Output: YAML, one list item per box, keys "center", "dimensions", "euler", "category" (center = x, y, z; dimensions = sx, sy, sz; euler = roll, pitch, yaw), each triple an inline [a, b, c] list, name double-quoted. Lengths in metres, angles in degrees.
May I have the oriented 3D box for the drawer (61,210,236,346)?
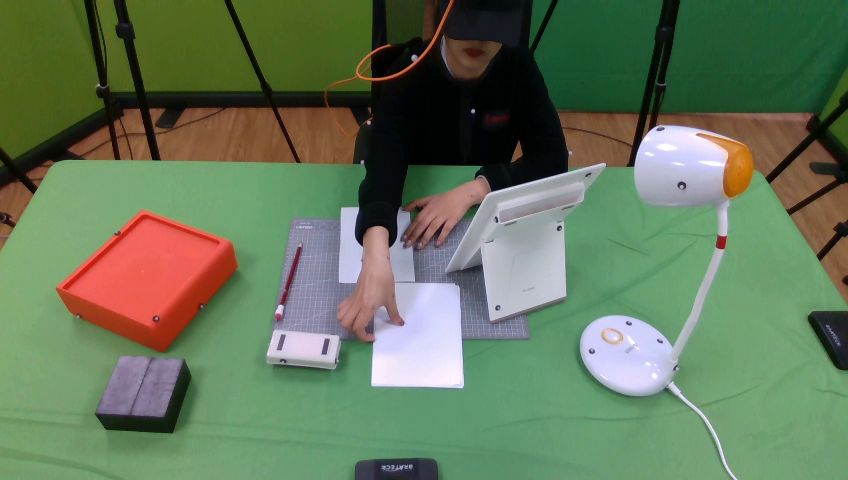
- center: [-0.474, 0.061, 1.063]
  dimensions: [0.194, 0.073, 0.211]
  euler: [19, 48, 13]
  category: "drawer"

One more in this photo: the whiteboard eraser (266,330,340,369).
- center: [-0.198, 0.181, 0.994]
  dimensions: [0.113, 0.042, 0.055]
  euler: [5, 45, 1]
  category: "whiteboard eraser"

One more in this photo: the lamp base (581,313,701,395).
- center: [0.361, 0.144, 0.973]
  dimensions: [0.178, 0.181, 0.160]
  euler: [34, 53, 23]
  category: "lamp base"

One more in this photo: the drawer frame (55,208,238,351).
- center: [-0.474, 0.062, 1.059]
  dimensions: [0.201, 0.083, 0.213]
  euler: [18, 48, 12]
  category: "drawer frame"

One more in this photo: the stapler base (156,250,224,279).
- center: [-0.431, 0.040, 1.110]
  dimensions: [0.130, 0.024, 0.041]
  euler: [11, 38, 17]
  category: "stapler base"

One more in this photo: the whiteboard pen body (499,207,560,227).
- center: [0.222, -0.051, 1.260]
  dimensions: [0.141, 0.017, 0.017]
  euler: [-15, 49, -16]
  category: "whiteboard pen body"

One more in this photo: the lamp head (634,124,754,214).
- center: [0.351, -0.089, 0.776]
  dimensions: [0.112, 0.113, 0.122]
  euler: [-30, 30, -28]
  category: "lamp head"

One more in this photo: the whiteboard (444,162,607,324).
- center: [0.186, 0.025, 1.029]
  dimensions: [0.217, 0.306, 0.143]
  euler: [-15, 68, -18]
  category: "whiteboard"

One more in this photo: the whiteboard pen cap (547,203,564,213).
- center: [0.277, -0.066, 1.275]
  dimensions: [0.033, 0.018, 0.018]
  euler: [-18, 50, -16]
  category: "whiteboard pen cap"

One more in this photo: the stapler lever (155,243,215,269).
- center: [-0.433, 0.023, 1.097]
  dimensions: [0.118, 0.040, 0.026]
  euler: [14, 39, 14]
  category: "stapler lever"

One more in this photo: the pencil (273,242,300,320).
- center: [-0.250, 0.071, 1.115]
  dimensions: [0.012, 0.012, 0.193]
  euler: [5, 43, 1]
  category: "pencil"
